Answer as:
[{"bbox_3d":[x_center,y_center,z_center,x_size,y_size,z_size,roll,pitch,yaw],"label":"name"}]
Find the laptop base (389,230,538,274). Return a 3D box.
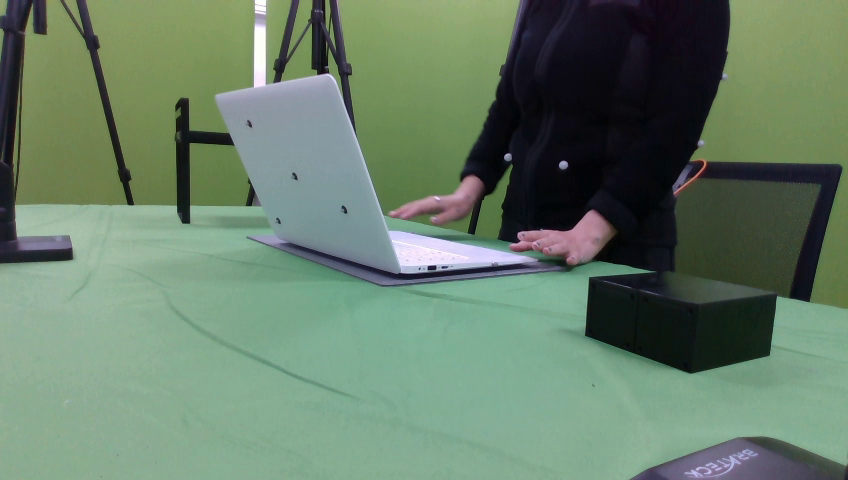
[{"bbox_3d":[-0.037,0.014,0.895,0.237,0.023,0.352,1,7,-38],"label":"laptop base"}]

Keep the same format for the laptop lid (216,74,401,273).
[{"bbox_3d":[-0.164,-0.085,0.781,0.013,0.242,0.355,-32,27,-30],"label":"laptop lid"}]
